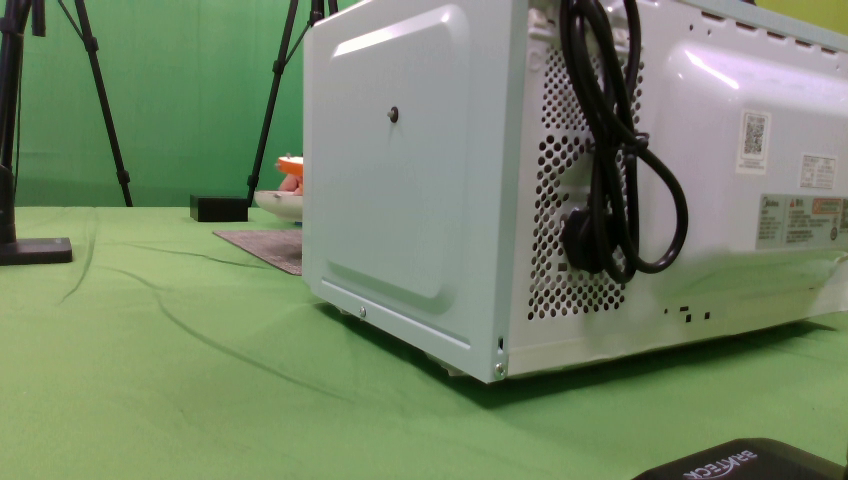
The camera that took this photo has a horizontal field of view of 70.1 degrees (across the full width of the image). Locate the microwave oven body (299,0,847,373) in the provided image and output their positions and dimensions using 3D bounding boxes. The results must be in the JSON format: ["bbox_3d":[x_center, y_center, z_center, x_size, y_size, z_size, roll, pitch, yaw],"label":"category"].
[{"bbox_3d":[0.151,-0.055,0.543,0.444,0.260,0.324,-1,7,-33],"label":"microwave oven body"}]

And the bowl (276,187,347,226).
[{"bbox_3d":[-0.241,-0.073,1.302,0.151,0.077,0.151,2,7,0],"label":"bowl"}]

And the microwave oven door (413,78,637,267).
[{"bbox_3d":[0.128,-0.104,0.888,0.354,0.243,0.039,9,10,41],"label":"microwave oven door"}]

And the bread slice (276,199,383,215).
[{"bbox_3d":[-0.139,-0.047,0.856,0.135,0.018,0.106,-2,6,-37],"label":"bread slice"}]

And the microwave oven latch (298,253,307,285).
[{"bbox_3d":[-0.081,0.027,0.582,0.079,0.029,0.030,-1,7,-32],"label":"microwave oven latch"}]

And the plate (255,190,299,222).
[{"bbox_3d":[-0.134,-0.047,0.861,0.208,0.039,0.207,3,6,0],"label":"plate"}]

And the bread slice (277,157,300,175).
[{"bbox_3d":[-0.138,-0.104,0.853,0.132,0.019,0.104,-3,13,-32],"label":"bread slice"}]

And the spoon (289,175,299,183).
[{"bbox_3d":[-0.261,-0.111,1.343,0.042,0.021,0.192,-7,33,-31],"label":"spoon"}]

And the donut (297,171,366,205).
[{"bbox_3d":[-0.132,-0.075,0.860,0.099,0.048,0.099,3,3,0],"label":"donut"}]
